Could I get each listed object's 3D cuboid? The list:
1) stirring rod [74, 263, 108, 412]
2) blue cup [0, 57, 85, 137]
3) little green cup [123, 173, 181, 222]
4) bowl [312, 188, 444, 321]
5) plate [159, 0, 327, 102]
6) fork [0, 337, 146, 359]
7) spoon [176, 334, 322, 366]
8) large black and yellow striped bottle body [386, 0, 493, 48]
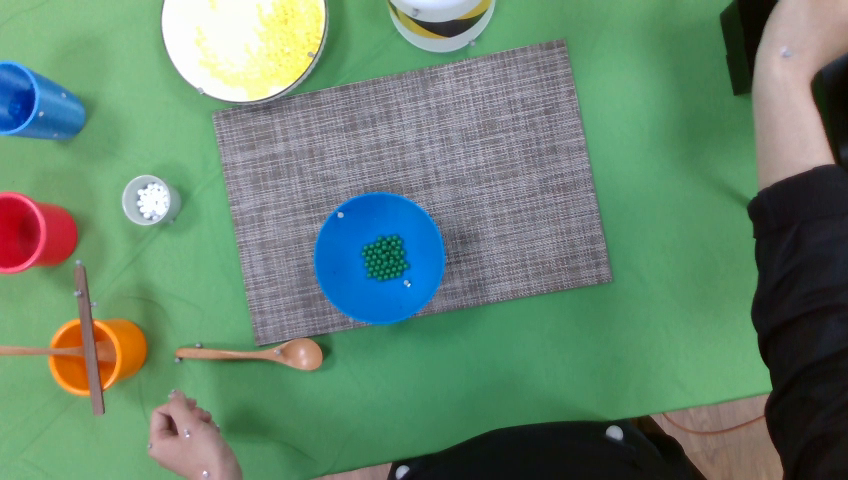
[{"bbox_3d":[-0.388,0.113,0.705,0.014,0.006,0.176,-9,90,2],"label":"stirring rod"},{"bbox_3d":[-0.473,-0.165,0.737,0.092,0.100,0.092,0,91,6],"label":"blue cup"},{"bbox_3d":[-0.338,-0.051,0.759,0.061,0.038,0.061,0,90,5],"label":"little green cup"},{"bbox_3d":[-0.049,0.017,0.715,0.151,0.077,0.151,0,90,4],"label":"bowl"},{"bbox_3d":[-0.220,-0.272,0.751,0.209,0.038,0.209,0,90,4],"label":"plate"},{"bbox_3d":[-0.439,0.127,0.711,0.209,0.018,0.028,9,93,-39],"label":"fork"},{"bbox_3d":[-0.221,0.137,0.759,0.193,0.021,0.042,0,103,4],"label":"spoon"},{"bbox_3d":[0.013,-0.302,0.662,0.131,0.184,0.130,0,89,4],"label":"large black and yellow striped bottle body"}]
